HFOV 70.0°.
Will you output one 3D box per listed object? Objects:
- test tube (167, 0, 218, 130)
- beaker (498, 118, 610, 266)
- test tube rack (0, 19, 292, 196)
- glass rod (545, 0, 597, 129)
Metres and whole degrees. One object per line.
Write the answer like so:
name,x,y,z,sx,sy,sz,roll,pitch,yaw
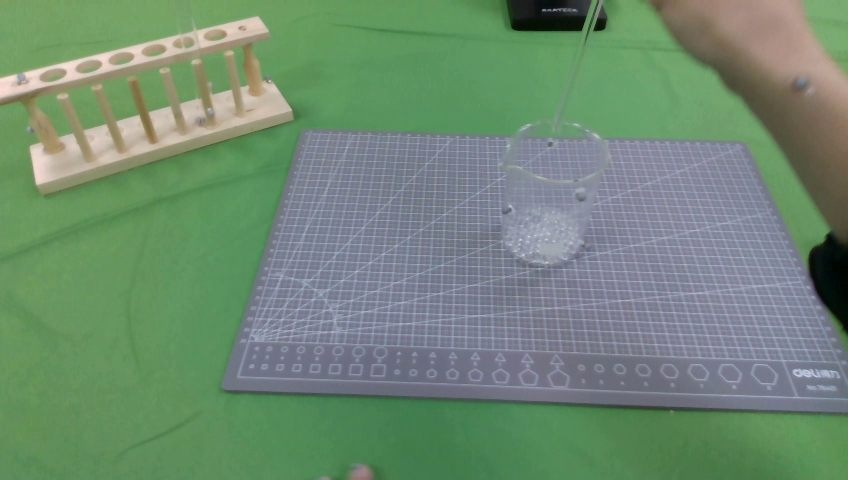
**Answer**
test tube,-0.212,-0.167,0.554,0.017,0.151,0.017,1,45,-1
beaker,0.096,-0.034,0.483,0.084,0.101,0.073,-11,48,-9
test tube rack,-0.259,-0.132,0.583,0.243,0.086,0.066,-22,51,-19
glass rod,0.096,-0.140,0.342,0.008,0.201,0.008,4,52,-4
